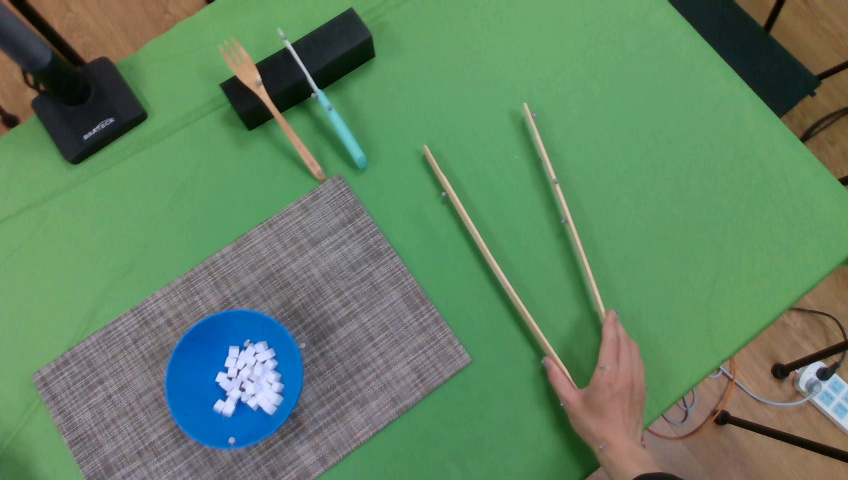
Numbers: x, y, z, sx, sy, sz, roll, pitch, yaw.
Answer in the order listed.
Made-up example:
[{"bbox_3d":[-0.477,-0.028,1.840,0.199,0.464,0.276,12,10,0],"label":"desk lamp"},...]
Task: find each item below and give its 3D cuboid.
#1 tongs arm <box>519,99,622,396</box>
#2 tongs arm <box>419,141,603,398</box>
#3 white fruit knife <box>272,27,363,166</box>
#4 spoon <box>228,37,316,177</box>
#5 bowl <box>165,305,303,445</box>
[{"bbox_3d":[0.169,0.001,0.755,0.051,0.026,0.382,-19,76,-3],"label":"tongs arm"},{"bbox_3d":[0.097,0.032,0.751,0.028,0.028,0.385,-30,77,-9],"label":"tongs arm"},{"bbox_3d":[-0.139,-0.186,0.783,0.016,0.027,0.207,-34,93,-12],"label":"white fruit knife"},{"bbox_3d":[-0.191,-0.166,0.773,0.041,0.021,0.194,-25,98,17],"label":"spoon"},{"bbox_3d":[-0.208,0.156,0.699,0.151,0.077,0.150,0,76,0],"label":"bowl"}]
